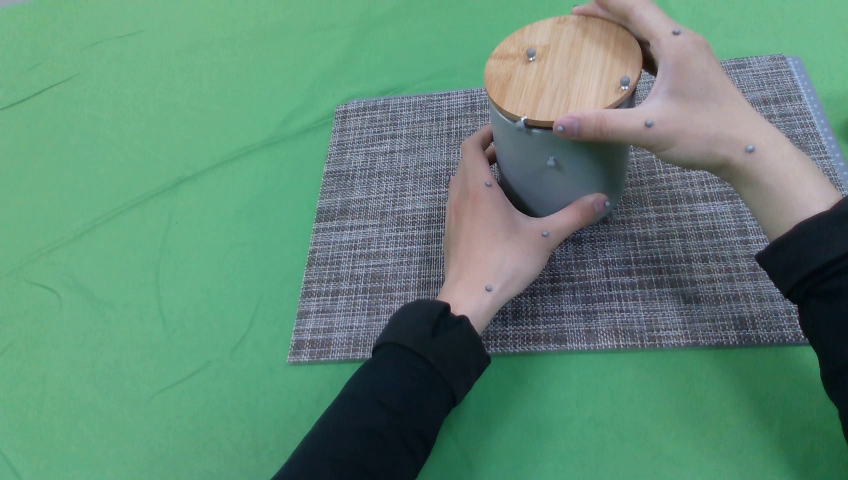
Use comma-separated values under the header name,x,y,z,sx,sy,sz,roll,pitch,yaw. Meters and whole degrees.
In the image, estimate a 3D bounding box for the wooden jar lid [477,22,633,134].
name,x,y,z,sx,sy,sz,roll,pitch,yaw
wooden jar lid,0.092,-0.113,0.431,0.108,0.021,0.107,-7,56,11

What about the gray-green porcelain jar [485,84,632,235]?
name,x,y,z,sx,sy,sz,roll,pitch,yaw
gray-green porcelain jar,0.106,-0.074,0.483,0.106,0.128,0.105,-6,53,8
